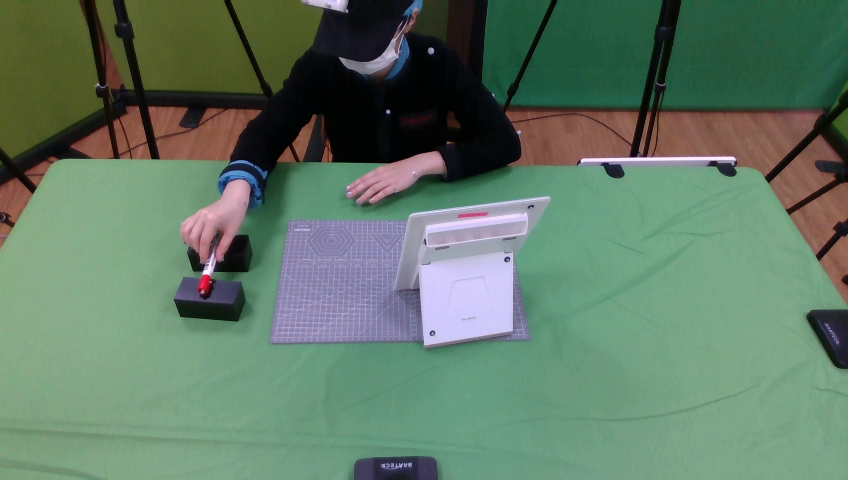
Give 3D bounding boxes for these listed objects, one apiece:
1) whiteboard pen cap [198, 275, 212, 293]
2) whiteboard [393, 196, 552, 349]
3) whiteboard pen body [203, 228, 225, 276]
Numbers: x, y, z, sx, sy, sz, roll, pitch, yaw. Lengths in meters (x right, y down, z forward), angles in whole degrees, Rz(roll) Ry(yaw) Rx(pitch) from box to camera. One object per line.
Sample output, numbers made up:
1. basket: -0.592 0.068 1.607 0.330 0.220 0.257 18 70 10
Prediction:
1. whiteboard pen cap: -0.373 0.073 1.032 0.017 0.017 0.032 2 44 -3
2. whiteboard: 0.077 0.071 0.977 0.217 0.306 0.143 -7 66 -11
3. whiteboard pen body: -0.374 0.031 1.071 0.017 0.017 0.139 2 46 -3
